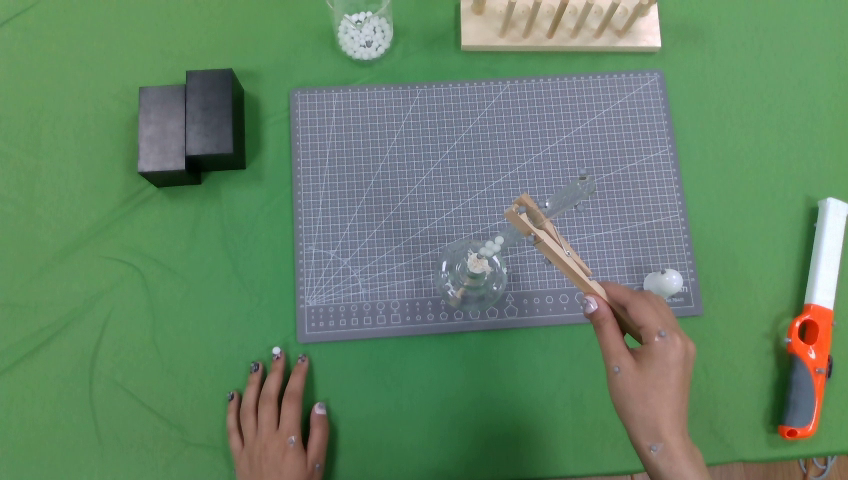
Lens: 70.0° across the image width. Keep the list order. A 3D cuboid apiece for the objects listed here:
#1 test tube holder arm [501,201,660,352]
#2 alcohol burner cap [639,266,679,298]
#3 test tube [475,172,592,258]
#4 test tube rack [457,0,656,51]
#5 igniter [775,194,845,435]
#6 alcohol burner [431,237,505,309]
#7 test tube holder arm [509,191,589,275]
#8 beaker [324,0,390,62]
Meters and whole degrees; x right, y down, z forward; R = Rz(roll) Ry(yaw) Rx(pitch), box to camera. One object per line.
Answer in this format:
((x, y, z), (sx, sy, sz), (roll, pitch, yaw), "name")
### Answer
((0.129, 0.033, 0.492), (0.179, 0.015, 0.013), (44, 58, -11), "test tube holder arm")
((0.260, 0.045, 0.664), (0.034, 0.048, 0.033), (0, 76, -2), "alcohol burner cap")
((0.081, -0.015, 0.485), (0.017, 0.150, 0.017), (10, 65, -23), "test tube")
((0.163, -0.275, 0.710), (0.242, 0.085, 0.066), (0, 78, -2), "test tube rack")
((0.430, 0.081, 0.672), (0.057, 0.025, 0.275), (19, 78, -7), "igniter")
((0.048, 0.030, 0.623), (0.078, 0.119, 0.077), (1, 76, -3), "alcohol burner")
((0.102, -0.003, 0.488), (0.088, 0.015, 0.010), (50, 57, -7), "test tube holder arm")
((-0.074, -0.255, 0.690), (0.074, 0.100, 0.083), (-1, 78, -2), "beaker")
